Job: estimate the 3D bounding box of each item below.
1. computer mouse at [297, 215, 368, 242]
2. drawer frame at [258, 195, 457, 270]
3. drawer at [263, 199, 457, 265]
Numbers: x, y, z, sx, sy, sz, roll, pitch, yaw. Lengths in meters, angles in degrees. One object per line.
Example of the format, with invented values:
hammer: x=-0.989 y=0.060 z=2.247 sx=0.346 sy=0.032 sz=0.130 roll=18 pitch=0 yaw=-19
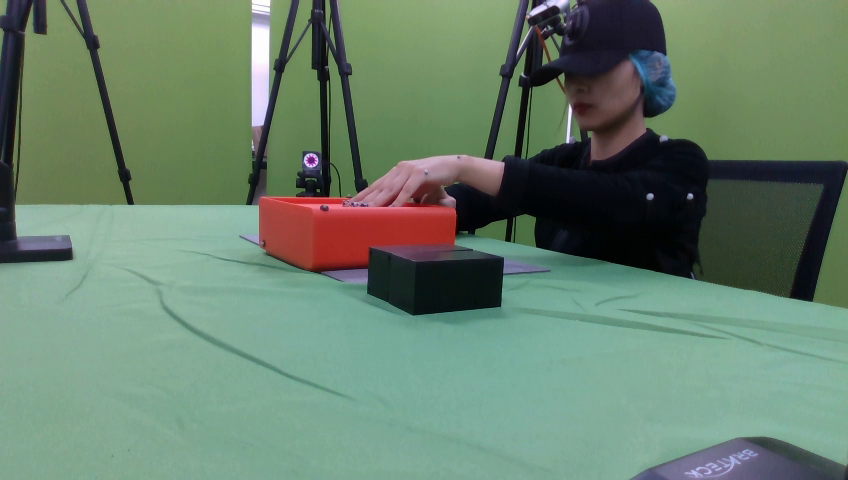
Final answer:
computer mouse: x=-0.155 y=-0.021 z=1.032 sx=0.118 sy=0.041 sz=0.062 roll=-9 pitch=15 yaw=-39
drawer frame: x=-0.095 y=-0.018 z=0.845 sx=0.215 sy=0.082 sz=0.200 roll=-3 pitch=10 yaw=-34
drawer: x=-0.093 y=-0.017 z=0.847 sx=0.213 sy=0.073 sz=0.193 roll=-3 pitch=10 yaw=-33
